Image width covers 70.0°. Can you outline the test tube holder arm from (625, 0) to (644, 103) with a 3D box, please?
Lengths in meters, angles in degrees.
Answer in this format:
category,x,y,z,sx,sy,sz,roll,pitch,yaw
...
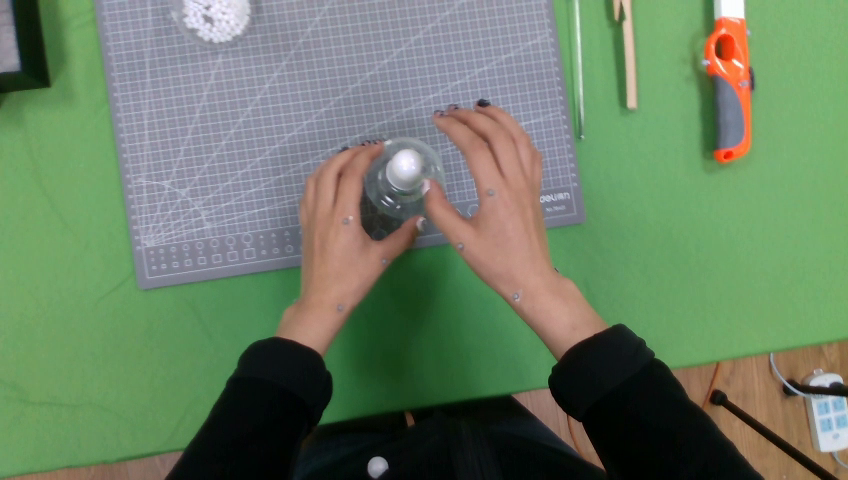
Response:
category,x,y,z,sx,sy,sz,roll,pitch,yaw
test tube holder arm,0.213,-0.232,0.627,0.013,0.015,0.178,-8,90,31

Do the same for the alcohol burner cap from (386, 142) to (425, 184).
category,x,y,z,sx,sy,sz,roll,pitch,yaw
alcohol burner cap,-0.014,-0.068,0.520,0.034,0.048,0.034,1,86,-10

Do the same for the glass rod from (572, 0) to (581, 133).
category,x,y,z,sx,sy,sz,roll,pitch,yaw
glass rod,0.158,-0.210,0.628,0.008,0.008,0.199,-2,92,-5

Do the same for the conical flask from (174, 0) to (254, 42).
category,x,y,z,sx,sy,sz,roll,pitch,yaw
conical flask,-0.199,-0.231,0.537,0.075,0.122,0.075,0,89,-5

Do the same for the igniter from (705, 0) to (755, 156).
category,x,y,z,sx,sy,sz,roll,pitch,yaw
igniter,0.319,-0.225,0.633,0.057,0.025,0.276,0,90,-15

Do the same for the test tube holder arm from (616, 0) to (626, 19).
category,x,y,z,sx,sy,sz,roll,pitch,yaw
test tube holder arm,0.202,-0.276,0.630,0.010,0.015,0.088,-6,91,32

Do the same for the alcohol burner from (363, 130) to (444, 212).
category,x,y,z,sx,sy,sz,roll,pitch,yaw
alcohol burner,-0.019,-0.065,0.556,0.078,0.119,0.078,0,88,-3
